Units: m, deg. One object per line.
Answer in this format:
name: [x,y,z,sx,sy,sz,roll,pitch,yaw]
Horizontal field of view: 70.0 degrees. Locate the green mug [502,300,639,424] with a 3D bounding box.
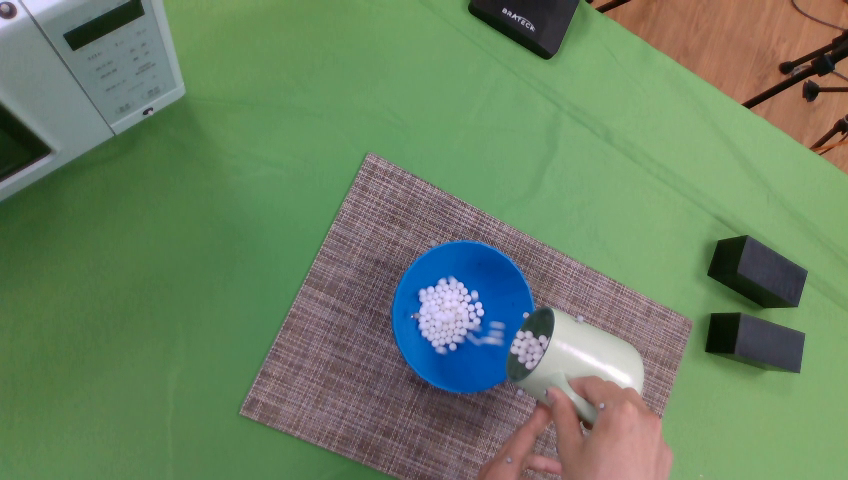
green mug: [0.140,0.120,0.559,0.105,0.124,0.092,30,106,-12]

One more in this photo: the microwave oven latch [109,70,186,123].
microwave oven latch: [-0.265,-0.143,0.571,0.079,0.029,0.030,-35,94,-17]

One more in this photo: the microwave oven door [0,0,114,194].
microwave oven door: [-0.407,-0.031,0.410,0.355,0.243,0.039,-37,94,-17]

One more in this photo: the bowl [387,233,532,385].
bowl: [0.028,0.071,0.628,0.152,0.076,0.151,2,83,-17]

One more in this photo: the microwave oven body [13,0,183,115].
microwave oven body: [-0.461,-0.173,0.415,0.441,0.260,0.326,-37,95,-16]
